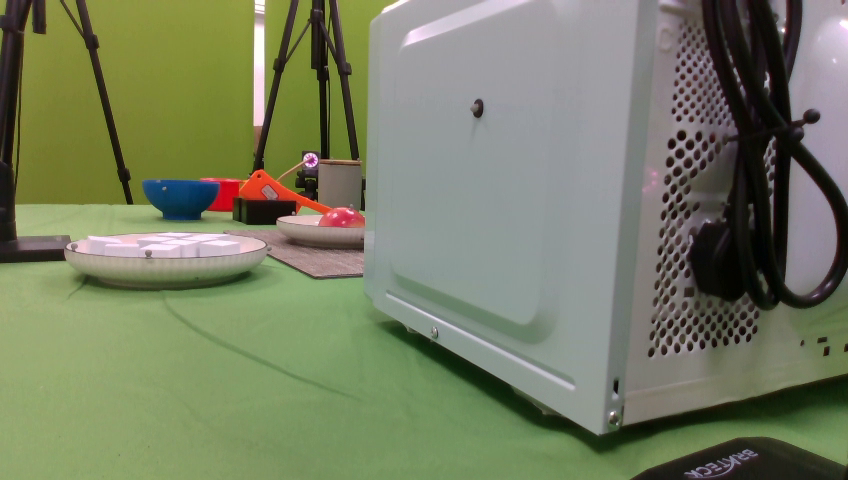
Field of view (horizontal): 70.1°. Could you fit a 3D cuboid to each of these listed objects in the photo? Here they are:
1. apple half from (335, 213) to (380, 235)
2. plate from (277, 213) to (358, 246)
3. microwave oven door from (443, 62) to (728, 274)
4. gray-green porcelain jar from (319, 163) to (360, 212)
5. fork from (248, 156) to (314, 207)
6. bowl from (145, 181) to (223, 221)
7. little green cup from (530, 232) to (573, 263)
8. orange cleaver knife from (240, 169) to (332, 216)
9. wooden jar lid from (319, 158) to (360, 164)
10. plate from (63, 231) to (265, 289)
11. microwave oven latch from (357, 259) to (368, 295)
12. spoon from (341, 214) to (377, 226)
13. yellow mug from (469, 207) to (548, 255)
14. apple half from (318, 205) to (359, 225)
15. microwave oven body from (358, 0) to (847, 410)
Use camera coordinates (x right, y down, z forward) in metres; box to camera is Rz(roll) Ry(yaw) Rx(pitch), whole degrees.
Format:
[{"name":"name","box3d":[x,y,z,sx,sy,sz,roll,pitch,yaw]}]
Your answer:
[{"name":"apple half","box3d":[-0.112,-0.029,1.034,0.081,0.033,0.081,0,9,0]},{"name":"plate","box3d":[-0.135,-0.018,0.994,0.209,0.038,0.209,2,7,0]},{"name":"microwave oven door","box3d":[0.188,-0.097,0.784,0.354,0.243,0.039,6,9,31]},{"name":"gray-green porcelain jar","box3d":[-0.204,-0.126,1.490,0.106,0.126,0.106,2,8,0]},{"name":"fork","box3d":[-0.360,-0.147,1.523,0.207,0.019,0.028,-43,16,-6]},{"name":"bowl","box3d":[-0.499,-0.081,1.261,0.151,0.077,0.151,2,8,0]},{"name":"little green cup","box3d":[0.185,0.010,0.879,0.061,0.038,0.061,0,8,0]},{"name":"orange cleaver knife","box3d":[-0.287,-0.082,1.298,0.212,0.077,0.012,25,-2,-31]},{"name":"wooden jar lid","box3d":[-0.203,-0.189,1.482,0.108,0.020,0.108,2,10,0]},{"name":"plate","box3d":[-0.288,0.021,0.687,0.208,0.039,0.207,2,8,0]},{"name":"microwave oven latch","box3d":[-0.019,0.031,0.529,0.079,0.029,0.030,-1,7,-27]},{"name":"spoon","box3d":[-0.132,-0.047,1.305,0.041,0.021,0.194,-14,4,14]},{"name":"yellow mug","box3d":[0.137,-0.015,0.951,0.131,0.064,0.099,2,7,-20]},{"name":"apple half","box3d":[-0.126,-0.029,0.954,0.081,0.053,0.074,-2,11,-33]},{"name":"microwave oven body","box3d":[0.210,-0.051,0.471,0.444,0.260,0.324,-1,7,-28]}]
